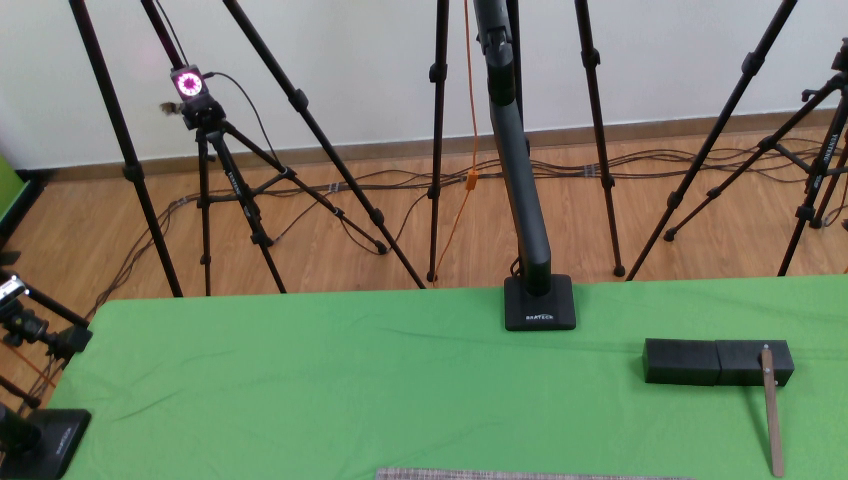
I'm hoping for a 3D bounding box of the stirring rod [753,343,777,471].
[{"bbox_3d":[0.482,0.233,0.856,0.014,0.006,0.175,2,69,8],"label":"stirring rod"}]
